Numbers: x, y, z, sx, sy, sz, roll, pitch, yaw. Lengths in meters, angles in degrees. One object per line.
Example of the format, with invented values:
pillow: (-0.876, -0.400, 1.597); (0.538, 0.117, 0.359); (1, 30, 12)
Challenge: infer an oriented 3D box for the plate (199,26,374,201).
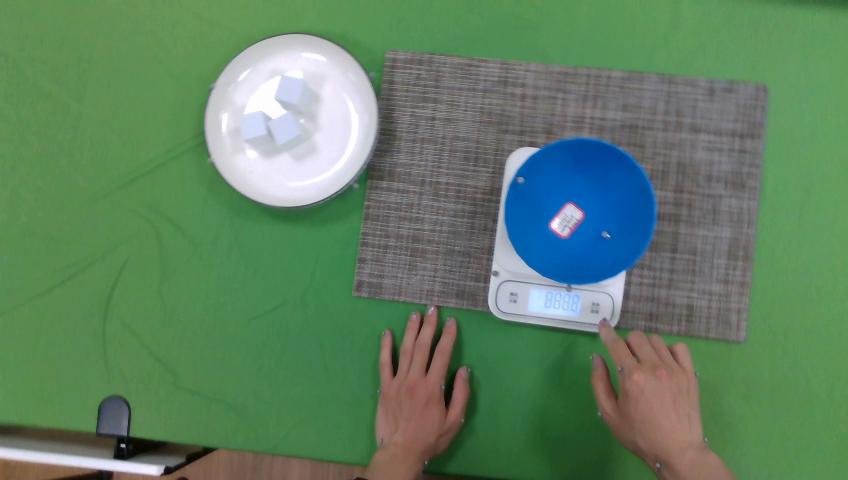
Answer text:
plate: (-0.160, -0.147, 0.721); (0.207, 0.039, 0.207); (0, 86, 4)

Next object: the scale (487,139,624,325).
scale: (0.154, -0.010, 0.688); (0.148, 0.031, 0.200); (7, 87, 5)

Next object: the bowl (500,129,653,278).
bowl: (0.153, -0.034, 0.636); (0.151, 0.077, 0.151); (0, 87, 3)
